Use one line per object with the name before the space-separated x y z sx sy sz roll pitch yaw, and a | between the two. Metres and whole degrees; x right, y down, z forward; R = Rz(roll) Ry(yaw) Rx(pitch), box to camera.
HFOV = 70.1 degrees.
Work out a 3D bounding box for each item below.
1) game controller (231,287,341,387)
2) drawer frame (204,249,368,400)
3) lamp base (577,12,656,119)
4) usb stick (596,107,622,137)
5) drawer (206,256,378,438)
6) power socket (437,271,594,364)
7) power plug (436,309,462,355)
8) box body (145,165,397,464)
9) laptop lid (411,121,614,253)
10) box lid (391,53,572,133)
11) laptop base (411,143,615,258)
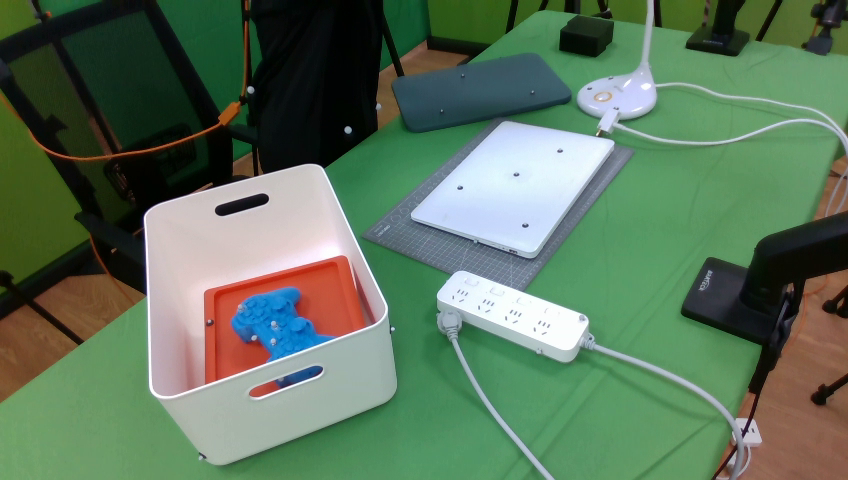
game controller | -0.167 0.110 0.734 0.097 0.052 0.154 -34 47 -22
drawer frame | -0.174 0.129 0.790 0.202 0.083 0.212 -16 45 -8
lamp base | 0.404 -0.359 1.218 0.180 0.181 0.159 -24 43 -23
usb stick | 0.355 -0.223 1.168 0.027 0.059 0.022 37 14 34
drawer | -0.177 0.130 0.787 0.195 0.073 0.210 -14 39 -9
power socket | 0.118 0.102 0.830 0.225 0.033 0.072 20 48 28
power plug | 0.032 0.126 0.810 0.035 0.053 0.072 3 59 7
box body | -0.205 0.080 0.802 0.255 0.161 0.361 -18 41 -12
laptop lid | 0.164 -0.112 1.068 0.240 0.013 0.357 19 46 30
box lid | 0.122 -0.339 1.366 0.372 0.015 0.261 -12 40 -5
laptop base | 0.167 -0.102 1.074 0.234 0.023 0.355 16 45 30
